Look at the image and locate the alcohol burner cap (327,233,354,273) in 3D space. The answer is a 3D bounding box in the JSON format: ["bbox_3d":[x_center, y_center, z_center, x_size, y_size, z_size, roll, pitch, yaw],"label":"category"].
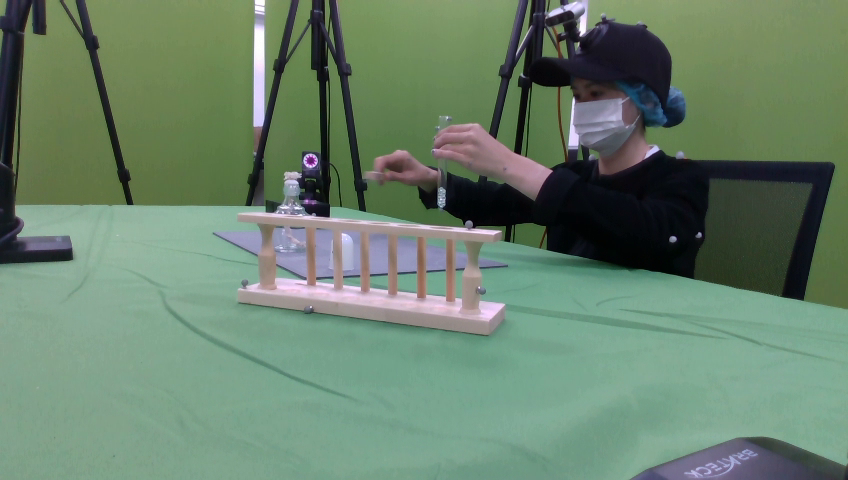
[{"bbox_3d":[-0.104,0.015,0.751,0.034,0.048,0.034,3,6,0],"label":"alcohol burner cap"}]

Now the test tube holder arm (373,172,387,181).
[{"bbox_3d":[-0.079,-0.116,1.105,0.010,0.015,0.088,15,8,4],"label":"test tube holder arm"}]

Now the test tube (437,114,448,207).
[{"bbox_3d":[0.030,-0.128,0.987,0.017,0.150,0.017,1,9,0],"label":"test tube"}]

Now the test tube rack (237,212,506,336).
[{"bbox_3d":[-0.049,0.024,0.552,0.242,0.085,0.067,5,8,18],"label":"test tube rack"}]

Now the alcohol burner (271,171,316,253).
[{"bbox_3d":[-0.196,-0.041,0.884,0.078,0.119,0.078,3,5,0],"label":"alcohol burner"}]

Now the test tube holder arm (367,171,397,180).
[{"bbox_3d":[-0.077,-0.122,1.150,0.013,0.015,0.178,16,8,9],"label":"test tube holder arm"}]
